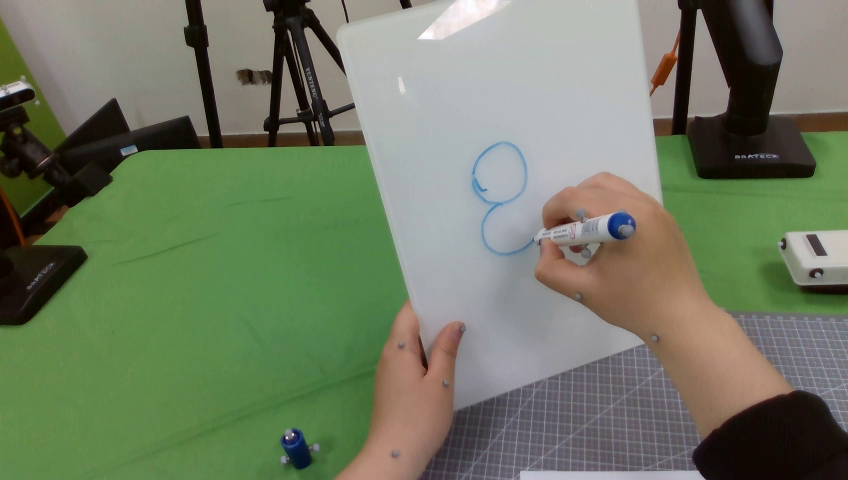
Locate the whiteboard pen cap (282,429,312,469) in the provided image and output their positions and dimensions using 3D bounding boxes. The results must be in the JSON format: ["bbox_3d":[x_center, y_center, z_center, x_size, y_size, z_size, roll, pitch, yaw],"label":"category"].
[{"bbox_3d":[-0.097,0.162,0.466,0.018,0.033,0.018,-6,39,5],"label":"whiteboard pen cap"}]

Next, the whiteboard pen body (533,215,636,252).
[{"bbox_3d":[0.097,-0.002,0.394,0.017,0.017,0.140,-19,0,-11],"label":"whiteboard pen body"}]

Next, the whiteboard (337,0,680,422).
[{"bbox_3d":[0.067,-0.043,0.517,0.217,0.307,0.143,-17,18,-7],"label":"whiteboard"}]

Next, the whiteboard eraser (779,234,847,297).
[{"bbox_3d":[0.379,0.022,0.529,0.112,0.042,0.055,-1,41,11],"label":"whiteboard eraser"}]
